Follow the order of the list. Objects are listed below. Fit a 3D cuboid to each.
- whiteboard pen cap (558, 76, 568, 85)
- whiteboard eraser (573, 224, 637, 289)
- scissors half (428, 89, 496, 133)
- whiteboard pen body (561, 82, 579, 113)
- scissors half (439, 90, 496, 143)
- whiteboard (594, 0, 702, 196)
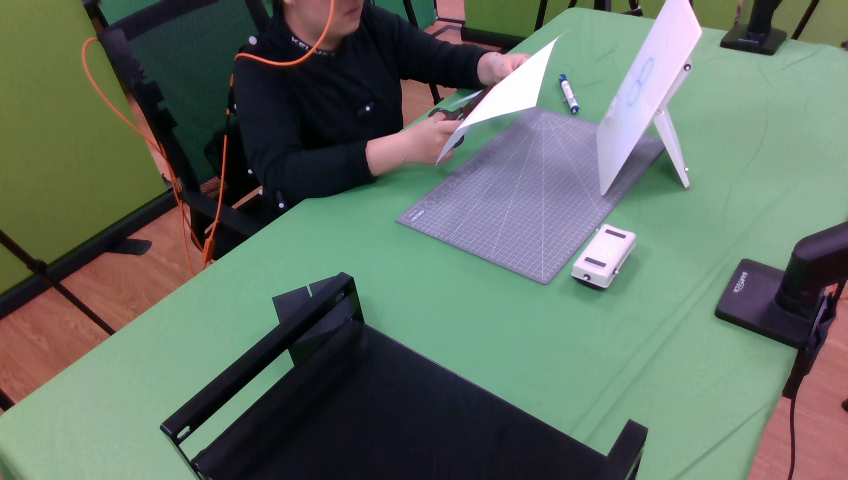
[{"bbox_3d":[0.310,-0.350,1.341,0.018,0.018,0.033,-6,41,2],"label":"whiteboard pen cap"},{"bbox_3d":[0.267,0.025,0.891,0.055,0.042,0.113,19,47,31],"label":"whiteboard eraser"},{"bbox_3d":[0.065,-0.231,1.069,0.174,0.040,0.013,-17,34,48],"label":"scissors half"},{"bbox_3d":[0.311,-0.312,1.297,0.017,0.017,0.140,-5,42,3],"label":"whiteboard pen body"},{"bbox_3d":[0.079,-0.219,1.075,0.040,0.174,0.013,33,58,-12],"label":"scissors half"},{"bbox_3d":[0.421,-0.227,1.010,0.144,0.305,0.216,18,42,-2],"label":"whiteboard"}]
